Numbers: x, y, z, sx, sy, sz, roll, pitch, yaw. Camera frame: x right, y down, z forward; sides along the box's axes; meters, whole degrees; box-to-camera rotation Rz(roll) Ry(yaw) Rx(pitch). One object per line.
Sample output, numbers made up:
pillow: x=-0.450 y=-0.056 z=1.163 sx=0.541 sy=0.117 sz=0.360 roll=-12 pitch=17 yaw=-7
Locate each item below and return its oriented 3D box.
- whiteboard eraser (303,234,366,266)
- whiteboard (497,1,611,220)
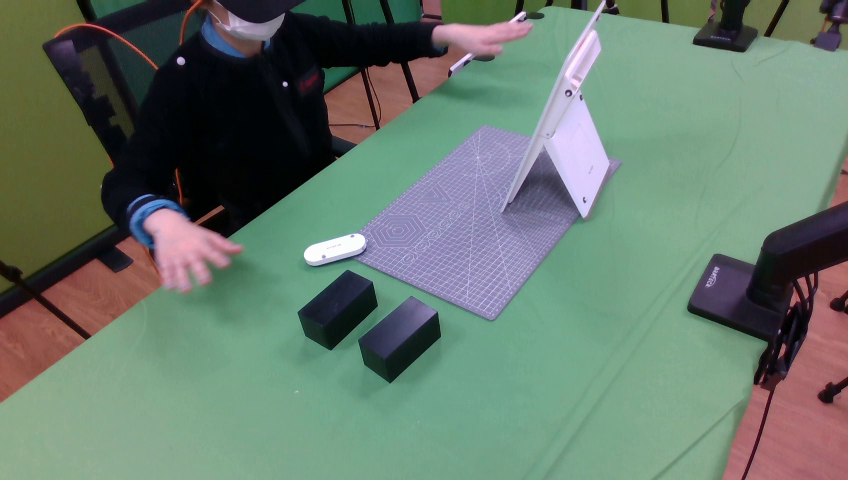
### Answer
whiteboard eraser: x=-0.144 y=0.015 z=0.970 sx=0.101 sy=0.019 sz=0.041 roll=-14 pitch=42 yaw=-6
whiteboard: x=0.259 y=-0.177 z=0.963 sx=0.143 sy=0.306 sz=0.217 roll=28 pitch=48 yaw=9
